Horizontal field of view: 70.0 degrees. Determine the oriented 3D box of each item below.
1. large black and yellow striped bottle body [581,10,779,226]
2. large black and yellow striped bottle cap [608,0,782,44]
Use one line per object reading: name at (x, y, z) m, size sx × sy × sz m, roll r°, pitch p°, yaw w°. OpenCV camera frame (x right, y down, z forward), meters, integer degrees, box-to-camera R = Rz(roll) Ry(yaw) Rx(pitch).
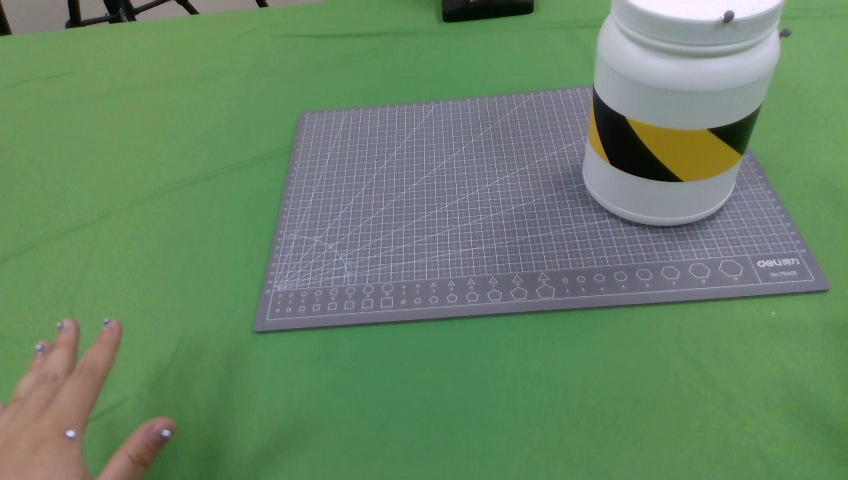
large black and yellow striped bottle body at (0.200, -0.117, 0.489) m, size 0.131 × 0.186 × 0.129 m, roll -4°, pitch 47°, yaw 5°
large black and yellow striped bottle cap at (0.190, -0.174, 0.428) m, size 0.115 × 0.019 × 0.114 m, roll -3°, pitch 47°, yaw 3°
